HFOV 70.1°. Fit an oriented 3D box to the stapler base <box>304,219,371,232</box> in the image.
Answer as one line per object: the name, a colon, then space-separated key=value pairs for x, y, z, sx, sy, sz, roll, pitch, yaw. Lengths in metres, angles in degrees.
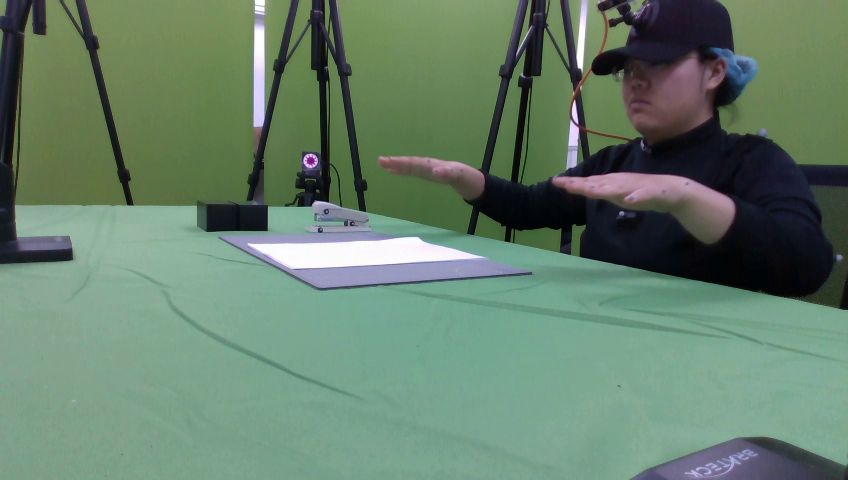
stapler base: x=-0.169 y=-0.030 z=1.186 sx=0.131 sy=0.024 sz=0.041 roll=0 pitch=9 yaw=-33

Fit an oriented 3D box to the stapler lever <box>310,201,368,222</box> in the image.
stapler lever: x=-0.166 y=-0.055 z=1.184 sx=0.119 sy=0.040 sz=0.026 roll=0 pitch=9 yaw=-33
